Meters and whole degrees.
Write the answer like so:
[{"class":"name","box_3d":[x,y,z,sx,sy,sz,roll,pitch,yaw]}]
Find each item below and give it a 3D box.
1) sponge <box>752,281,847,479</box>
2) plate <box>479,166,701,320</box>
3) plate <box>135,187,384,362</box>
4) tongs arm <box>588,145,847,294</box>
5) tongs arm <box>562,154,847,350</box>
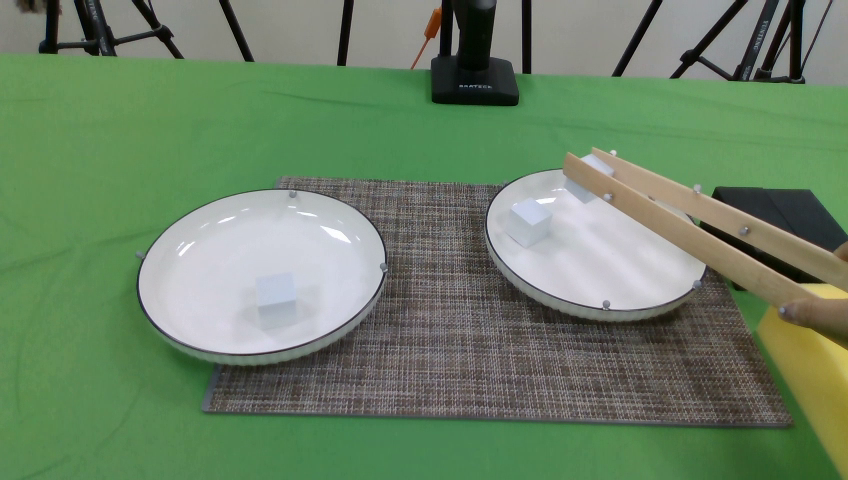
[{"class":"sponge","box_3d":[0.358,0.124,0.455,0.118,0.061,0.204,-1,42,-5]},{"class":"plate","box_3d":[0.155,0.003,0.586,0.208,0.039,0.205,2,42,-2]},{"class":"plate","box_3d":[-0.138,0.028,0.534,0.209,0.038,0.207,2,41,-2]},{"class":"tongs arm","box_3d":[0.258,0.009,0.462,0.051,0.027,0.380,-24,40,-28]},{"class":"tongs arm","box_3d":[0.238,0.016,0.452,0.028,0.028,0.383,-18,37,-27]}]
